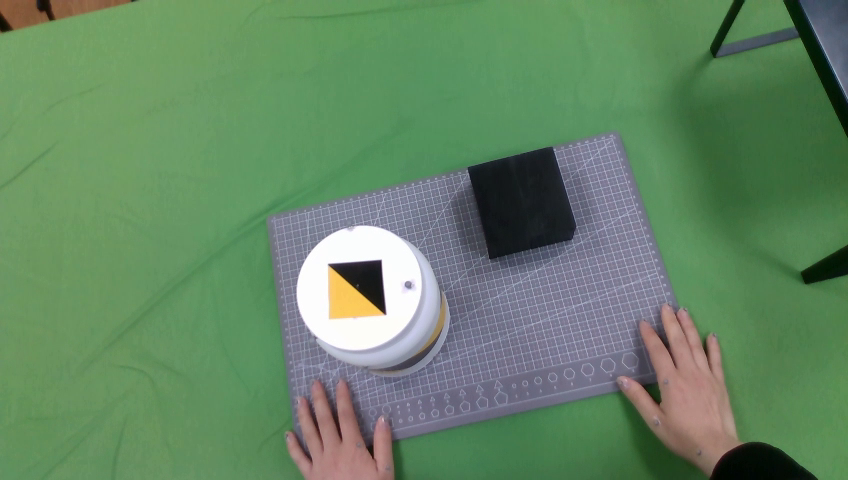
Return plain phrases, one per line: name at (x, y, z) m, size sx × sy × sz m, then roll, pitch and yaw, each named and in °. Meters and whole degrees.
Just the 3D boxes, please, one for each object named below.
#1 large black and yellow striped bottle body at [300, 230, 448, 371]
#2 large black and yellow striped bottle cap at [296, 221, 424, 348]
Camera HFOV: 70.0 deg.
large black and yellow striped bottle body at (-0.048, 0.062, 0.621) m, size 0.130 × 0.185 × 0.130 m, roll -2°, pitch 73°, yaw 7°
large black and yellow striped bottle cap at (-0.058, 0.039, 0.541) m, size 0.115 × 0.019 × 0.114 m, roll -2°, pitch 74°, yaw 8°
